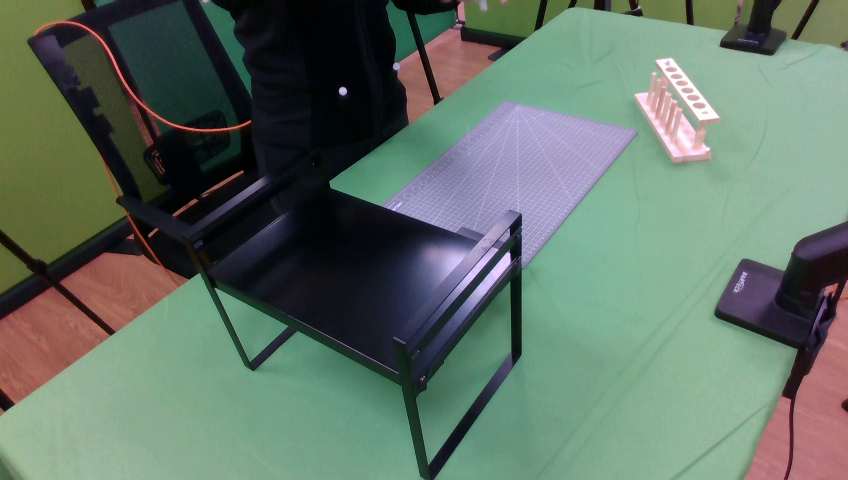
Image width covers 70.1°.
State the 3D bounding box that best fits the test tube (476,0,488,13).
[{"bbox_3d":[0.081,-0.402,0.947,0.017,0.151,0.017,-3,78,15],"label":"test tube"}]

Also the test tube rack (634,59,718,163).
[{"bbox_3d":[0.470,-0.251,1.148,0.067,0.085,0.241,-6,40,3],"label":"test tube rack"}]
